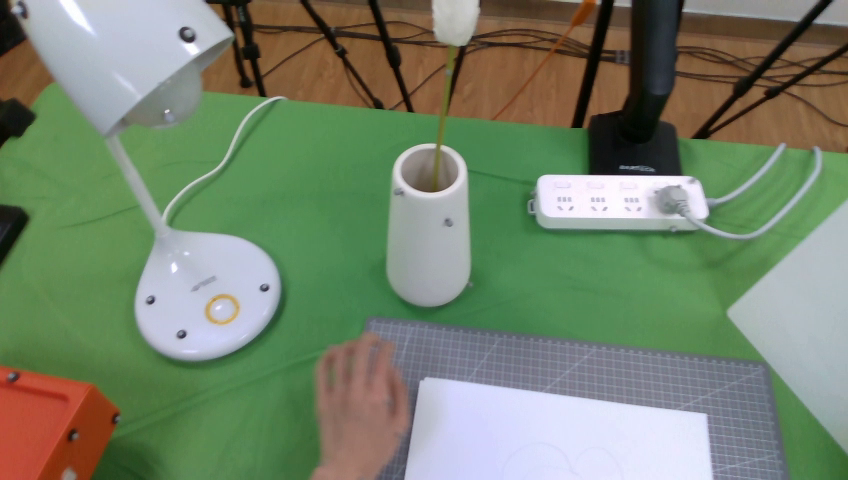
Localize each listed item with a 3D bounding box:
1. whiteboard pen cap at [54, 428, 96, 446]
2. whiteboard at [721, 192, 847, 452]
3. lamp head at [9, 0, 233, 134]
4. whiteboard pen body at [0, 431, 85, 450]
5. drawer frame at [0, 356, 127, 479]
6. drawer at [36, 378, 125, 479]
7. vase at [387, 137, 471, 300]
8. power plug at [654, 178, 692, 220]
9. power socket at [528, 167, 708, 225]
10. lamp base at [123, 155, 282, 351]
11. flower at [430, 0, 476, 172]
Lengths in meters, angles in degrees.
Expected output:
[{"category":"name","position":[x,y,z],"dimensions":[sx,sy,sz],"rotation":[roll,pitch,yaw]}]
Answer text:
[{"category":"whiteboard pen cap","position":[-0.321,0.181,0.555],"dimensions":[0.033,0.018,0.018],"rotation":[-3,56,5]},{"category":"whiteboard","position":[0.498,0.046,0.582],"dimensions":[0.144,0.307,0.215],"rotation":[-11,54,-30]},{"category":"lamp head","position":[-0.207,-0.147,0.394],"dimensions":[0.123,0.112,0.112],"rotation":[47,61,-16]},{"category":"whiteboard pen body","position":[-0.382,0.184,0.552],"dimensions":[0.141,0.017,0.017],"rotation":[-1,56,-4]},{"category":"drawer frame","position":[-0.411,0.200,0.518],"dimensions":[0.213,0.083,0.200],"rotation":[10,57,4]},{"category":"drawer","position":[-0.404,0.199,0.516],"dimensions":[0.211,0.074,0.193],"rotation":[10,58,6]},{"category":"vase","position":[0.004,-0.017,0.646],"dimensions":[0.098,0.202,0.097],"rotation":[0,56,1]},{"category":"power plug","position":[0.299,-0.044,0.739],"dimensions":[0.035,0.053,0.072],"rotation":[10,58,7]},{"category":"power socket","position":[0.249,-0.056,0.774],"dimensions":[0.227,0.033,0.071],"rotation":[1,57,0]},{"category":"lamp base","position":[-0.255,0.004,0.641],"dimensions":[0.178,0.182,0.160],"rotation":[35,62,24]},{"category":"flower","position":[0.013,-0.077,0.588],"dimensions":[0.038,0.364,0.043],"rotation":[-3,38,-10]}]
